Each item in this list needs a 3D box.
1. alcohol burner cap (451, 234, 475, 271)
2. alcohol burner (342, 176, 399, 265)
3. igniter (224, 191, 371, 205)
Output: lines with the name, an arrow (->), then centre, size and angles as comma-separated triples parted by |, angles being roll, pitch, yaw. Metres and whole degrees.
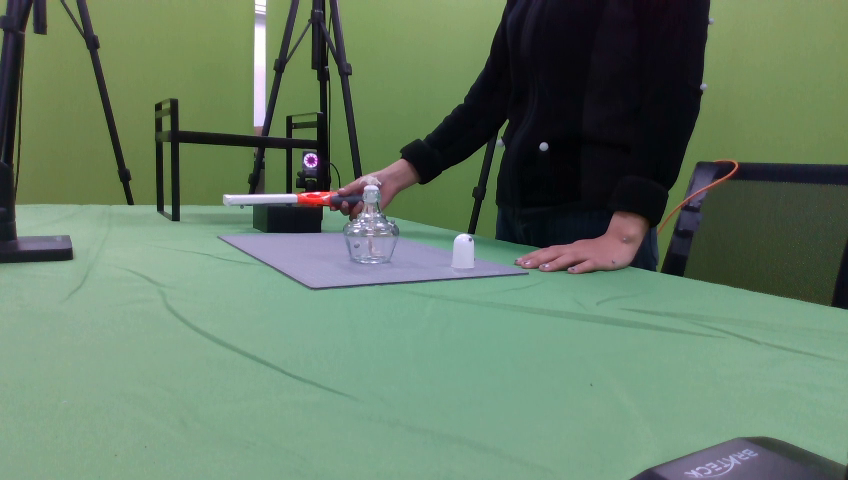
alcohol burner cap -> 0.053, 0.016, 0.808 | 0.034, 0.048, 0.034 | 3, 8, 0
alcohol burner -> -0.073, -0.027, 0.818 | 0.078, 0.119, 0.078 | 1, 6, 0
igniter -> -0.235, -0.079, 1.152 | 0.278, 0.025, 0.057 | -3, 14, -26
